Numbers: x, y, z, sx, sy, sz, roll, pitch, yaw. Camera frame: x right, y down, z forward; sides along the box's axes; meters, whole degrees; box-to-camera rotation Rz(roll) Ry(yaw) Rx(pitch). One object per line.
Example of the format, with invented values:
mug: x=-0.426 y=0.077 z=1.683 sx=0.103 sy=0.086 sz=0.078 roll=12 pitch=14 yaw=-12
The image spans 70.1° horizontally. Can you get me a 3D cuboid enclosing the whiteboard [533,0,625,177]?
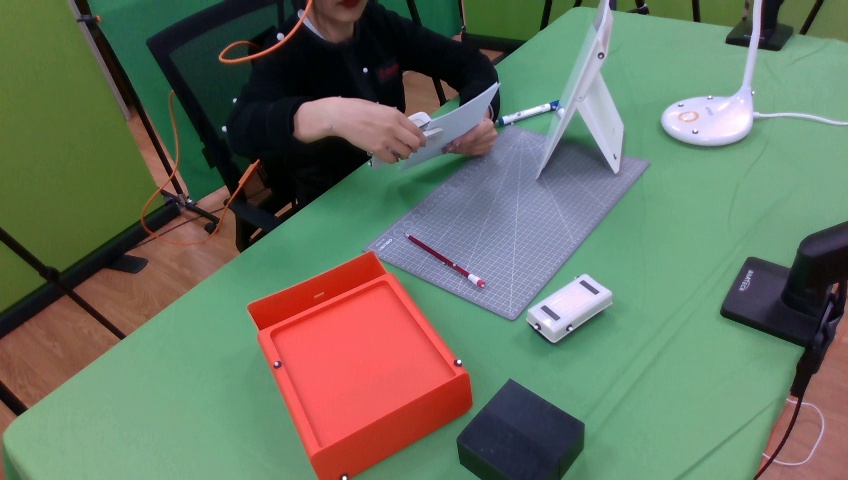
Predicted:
whiteboard: x=0.321 y=-0.258 z=1.049 sx=0.144 sy=0.306 sz=0.217 roll=20 pitch=45 yaw=4

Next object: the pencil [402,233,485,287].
pencil: x=0.026 y=0.027 z=0.949 sx=0.012 sy=0.012 sz=0.192 roll=-34 pitch=44 yaw=-26

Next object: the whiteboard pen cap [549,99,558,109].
whiteboard pen cap: x=0.275 y=-0.286 z=1.267 sx=0.033 sy=0.018 sz=0.018 roll=-17 pitch=41 yaw=-12

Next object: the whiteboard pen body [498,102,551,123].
whiteboard pen body: x=0.220 y=-0.268 z=1.256 sx=0.141 sy=0.017 sz=0.017 roll=-18 pitch=41 yaw=-12

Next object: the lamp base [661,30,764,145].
lamp base: x=0.535 y=-0.287 z=1.096 sx=0.179 sy=0.181 sz=0.159 roll=-10 pitch=40 yaw=-4

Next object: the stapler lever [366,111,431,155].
stapler lever: x=-0.043 y=-0.172 z=0.967 sx=0.118 sy=0.027 sz=0.040 roll=-21 pitch=72 yaw=-19

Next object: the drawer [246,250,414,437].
drawer: x=-0.108 y=0.129 z=0.804 sx=0.195 sy=0.073 sz=0.210 roll=-23 pitch=43 yaw=-18

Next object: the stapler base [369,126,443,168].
stapler base: x=-0.032 y=-0.155 z=0.962 sx=0.131 sy=0.041 sz=0.024 roll=-26 pitch=73 yaw=-20

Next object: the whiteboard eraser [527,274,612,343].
whiteboard eraser: x=0.198 y=0.094 z=0.820 sx=0.113 sy=0.042 sz=0.055 roll=-29 pitch=43 yaw=-22

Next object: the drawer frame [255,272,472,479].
drawer frame: x=-0.079 y=0.161 z=0.760 sx=0.202 sy=0.083 sz=0.211 roll=-24 pitch=43 yaw=-18
